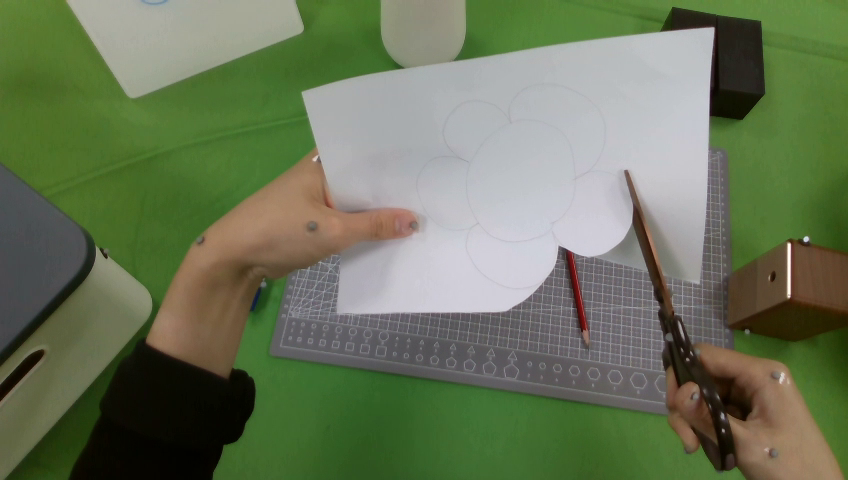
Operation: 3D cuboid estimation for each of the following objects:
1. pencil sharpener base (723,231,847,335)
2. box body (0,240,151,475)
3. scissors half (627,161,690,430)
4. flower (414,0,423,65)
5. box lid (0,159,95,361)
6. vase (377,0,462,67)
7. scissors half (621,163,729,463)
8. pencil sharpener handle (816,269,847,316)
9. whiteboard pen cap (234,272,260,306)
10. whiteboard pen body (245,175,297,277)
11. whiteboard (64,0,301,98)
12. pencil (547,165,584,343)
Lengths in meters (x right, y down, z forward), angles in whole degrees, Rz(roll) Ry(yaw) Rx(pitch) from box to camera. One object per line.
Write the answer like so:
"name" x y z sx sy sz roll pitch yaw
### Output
"pencil sharpener base" 0.342 0.044 0.566 0.077 0.107 0.061 12 69 0
"box body" -0.466 0.028 0.530 0.362 0.161 0.253 34 73 11
"scissors half" 0.140 0.036 0.359 0.013 0.040 0.176 -16 109 9
"flower" -0.010 -0.317 0.558 0.044 0.365 0.038 1 52 3
"box lid" -0.467 0.000 0.460 0.370 0.015 0.262 34 72 11
"vase" -0.006 -0.274 0.630 0.098 0.201 0.097 0 68 1
"scissors half" 0.138 0.040 0.338 0.013 0.040 0.174 -17 85 4
"pencil sharpener handle" 0.393 0.052 0.554 0.030 0.068 0.035 12 64 1
"whiteboard pen cap" -0.174 0.048 0.602 0.018 0.018 0.033 14 66 5
"whiteboard pen body" -0.160 -0.005 0.623 0.017 0.017 0.140 14 68 5
"whiteboard" -0.292 -0.347 0.628 0.217 0.308 0.142 -25 52 -9
"pencil" 0.148 0.011 0.627 0.012 0.012 0.192 -5 72 -2
